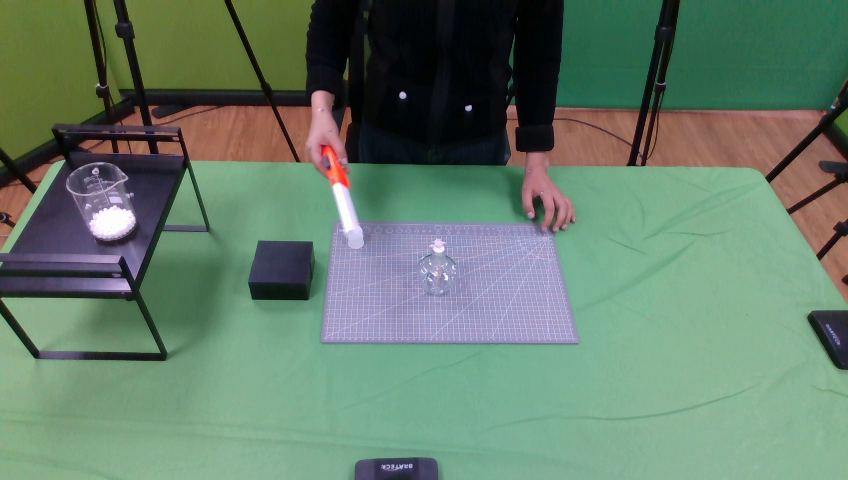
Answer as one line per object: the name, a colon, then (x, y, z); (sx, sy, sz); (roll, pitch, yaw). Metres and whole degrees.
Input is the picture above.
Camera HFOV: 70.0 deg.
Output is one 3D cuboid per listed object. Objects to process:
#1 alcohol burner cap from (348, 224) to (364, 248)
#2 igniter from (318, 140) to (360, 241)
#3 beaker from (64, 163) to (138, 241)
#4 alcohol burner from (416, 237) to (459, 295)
alcohol burner cap: (-0.134, -0.011, 1.177); (0.034, 0.048, 0.033); (2, 47, -2)
igniter: (-0.155, -0.097, 1.078); (0.025, 0.057, 0.274); (-38, 43, 15)
beaker: (-0.477, -0.055, 0.910); (0.084, 0.101, 0.073); (-9, 48, -13)
alcohol burner: (0.025, 0.042, 1.088); (0.078, 0.120, 0.077); (1, 46, 0)
